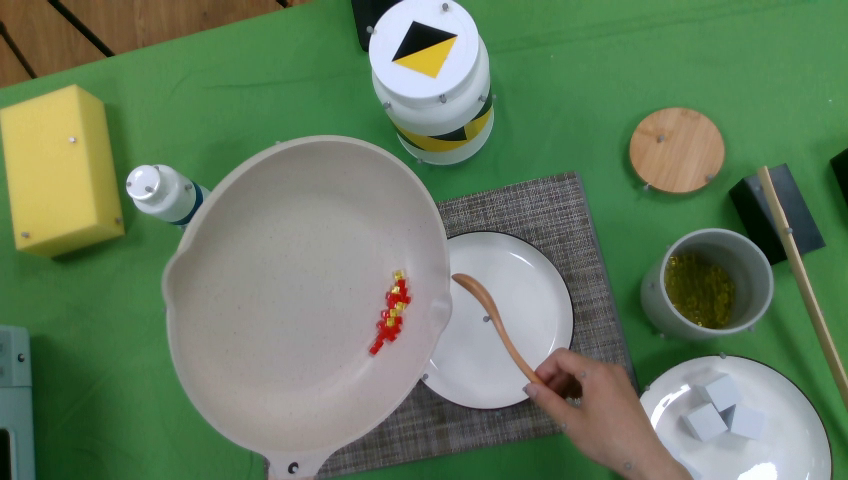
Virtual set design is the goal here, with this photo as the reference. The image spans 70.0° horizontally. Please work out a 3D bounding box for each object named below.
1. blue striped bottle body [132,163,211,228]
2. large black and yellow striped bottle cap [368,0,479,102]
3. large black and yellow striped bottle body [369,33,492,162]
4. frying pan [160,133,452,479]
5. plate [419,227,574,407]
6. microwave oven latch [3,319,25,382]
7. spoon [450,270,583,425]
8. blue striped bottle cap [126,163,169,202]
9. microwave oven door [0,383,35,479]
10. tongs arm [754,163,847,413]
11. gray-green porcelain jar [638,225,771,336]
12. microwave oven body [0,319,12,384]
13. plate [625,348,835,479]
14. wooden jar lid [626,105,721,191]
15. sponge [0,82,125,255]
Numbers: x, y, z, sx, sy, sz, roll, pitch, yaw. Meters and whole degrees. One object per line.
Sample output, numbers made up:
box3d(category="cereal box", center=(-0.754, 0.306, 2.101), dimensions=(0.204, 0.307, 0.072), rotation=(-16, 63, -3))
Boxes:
box3d(category="blue striped bottle body", center=(-0.317, -0.056, 0.760), dimensions=(0.063, 0.121, 0.063), rotation=(-2, 78, 8))
box3d(category="large black and yellow striped bottle cap", center=(-0.001, -0.199, 0.624), dimensions=(0.115, 0.019, 0.114), rotation=(-1, 80, 8))
box3d(category="large black and yellow striped bottle body", center=(0.011, -0.180, 0.706), dimensions=(0.130, 0.185, 0.130), rotation=(-2, 78, 8))
box3d(category="frying pan", center=(-0.114, 0.150, 0.557), dimensions=(0.102, 0.309, 0.486), rotation=(-1, 79, 47))
box3d(category="plate", center=(0.069, 0.089, 0.715), dimensions=(0.209, 0.038, 0.208), rotation=(-2, 79, 9))
box3d(category="microwave oven latch", center=(-0.531, 0.142, 0.775), dimensions=(0.030, 0.029, 0.079), rotation=(-8, 78, 6))
box3d(category="spoon", center=(0.090, 0.104, 0.596), dimensions=(0.021, 0.042, 0.193), rotation=(-35, 82, -3))
box3d(category="blue striped bottle cap", center=(-0.325, -0.068, 0.711), dimensions=(0.044, 0.021, 0.044), rotation=(-1, 80, 7))
box3d(category="microwave oven door", center=(-0.506, 0.331, 0.629), dimensions=(0.039, 0.245, 0.354), rotation=(-13, 77, 6))
box3d(category="tongs arm", center=(0.436, 0.094, 0.636), dimensions=(0.051, 0.026, 0.384), rotation=(-18, 87, 2))
box3d(category="gray-green porcelain jar", center=(0.291, 0.049, 0.649), dimensions=(0.106, 0.127, 0.105), rotation=(-2, 78, 8))
box3d(category="microwave oven body", center=(-0.655, 0.323, 0.657), dimensions=(0.326, 0.261, 0.439), rotation=(-12, 78, 5))
box3d(category="plate", center=(0.323, 0.222, 0.656), dimensions=(0.207, 0.039, 0.206), rotation=(-2, 78, 8))
box3d(category="wooden jar lid", center=(0.301, -0.110, 0.734), dimensions=(0.108, 0.021, 0.108), rotation=(-1, 80, 8))
box3d(category="sponge", center=(-0.495, -0.096, 0.824), dimensions=(0.118, 0.061, 0.205), rotation=(-18, 77, 4))
